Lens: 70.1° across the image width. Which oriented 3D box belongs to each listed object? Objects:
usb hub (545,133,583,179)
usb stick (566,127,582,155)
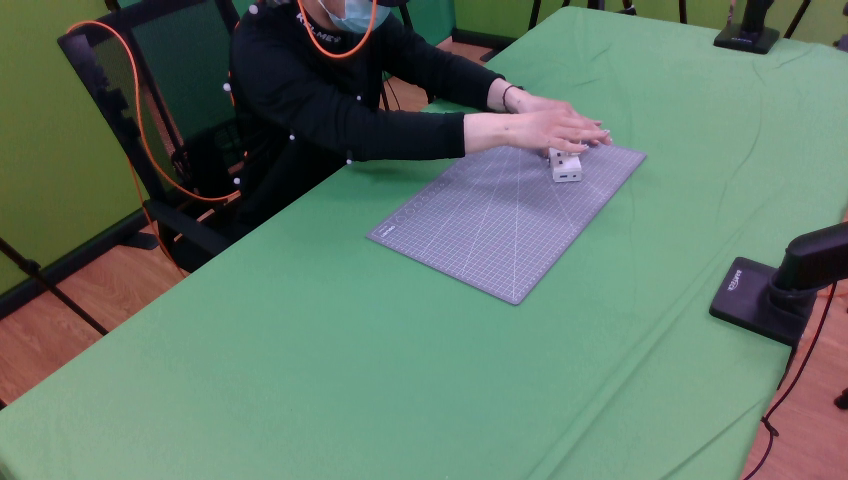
[{"bbox_3d":[0.255,-0.155,1.102,0.049,0.025,0.124,2,40,0],"label":"usb hub"},{"bbox_3d":[0.266,-0.170,1.077,0.027,0.059,0.021,-4,39,2],"label":"usb stick"}]
